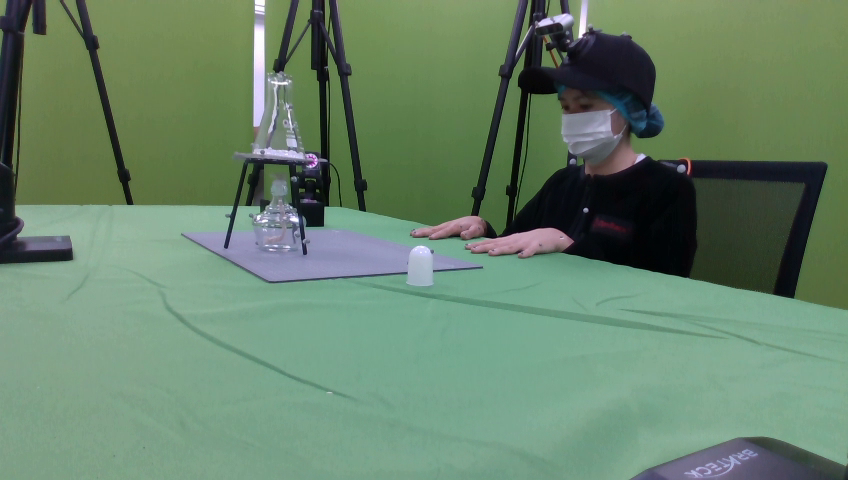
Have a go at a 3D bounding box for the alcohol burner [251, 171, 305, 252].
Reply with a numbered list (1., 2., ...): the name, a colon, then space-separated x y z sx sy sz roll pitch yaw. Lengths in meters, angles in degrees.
1. alcohol burner: -0.214 -0.042 0.888 0.078 0.119 0.078 2 9 0

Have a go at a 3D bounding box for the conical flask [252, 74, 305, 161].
1. conical flask: -0.211 -0.177 0.880 0.075 0.122 0.075 3 6 0

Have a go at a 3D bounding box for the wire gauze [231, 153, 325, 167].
1. wire gauze: -0.215 -0.117 0.882 0.125 0.011 0.121 3 7 -19

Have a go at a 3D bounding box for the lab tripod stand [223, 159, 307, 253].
1. lab tripod stand: -0.220 -0.053 0.896 0.148 0.131 0.148 1 6 0

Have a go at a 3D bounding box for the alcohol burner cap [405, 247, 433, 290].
1. alcohol burner cap: -0.005 0.031 0.698 0.034 0.048 0.034 3 8 0
